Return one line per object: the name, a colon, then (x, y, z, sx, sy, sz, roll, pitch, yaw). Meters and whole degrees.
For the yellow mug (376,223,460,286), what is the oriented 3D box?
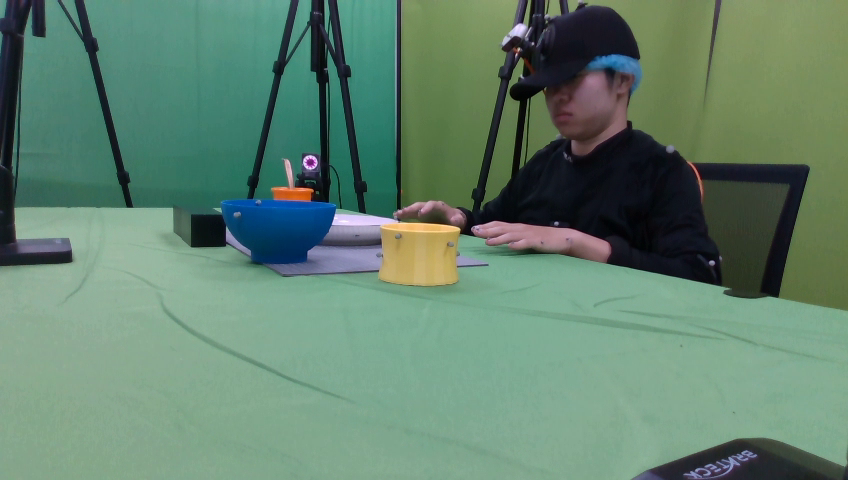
yellow mug: (-0.002, 0.014, 0.754, 0.099, 0.064, 0.131, 5, 6, 20)

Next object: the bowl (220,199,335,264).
bowl: (-0.197, -0.012, 0.819, 0.151, 0.077, 0.151, 3, 8, 0)

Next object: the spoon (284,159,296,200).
spoon: (-0.302, -0.118, 1.370, 0.042, 0.193, 0.021, 4, -39, -24)

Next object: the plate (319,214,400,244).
plate: (-0.147, -0.020, 1.060, 0.209, 0.038, 0.209, 2, 7, 0)
